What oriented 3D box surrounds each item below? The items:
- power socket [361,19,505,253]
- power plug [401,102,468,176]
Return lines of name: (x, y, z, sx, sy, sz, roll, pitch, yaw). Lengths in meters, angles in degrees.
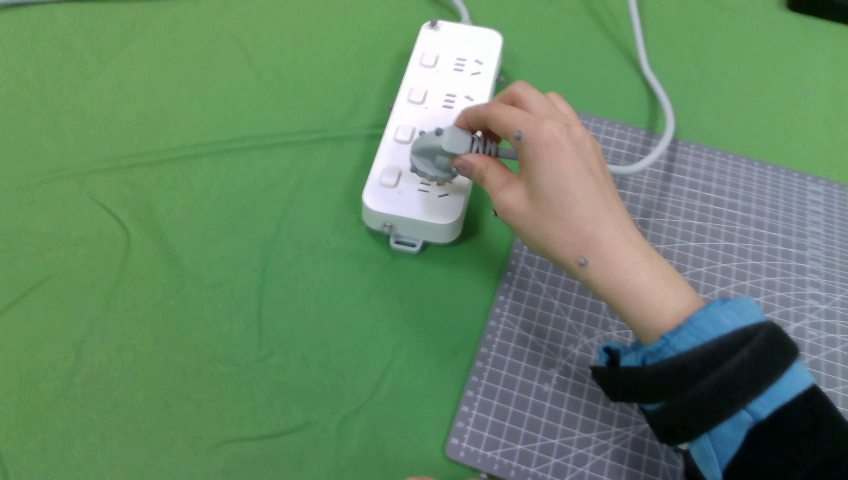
power socket: (0.012, -0.092, 0.469, 0.072, 0.033, 0.225, 13, 58, 5)
power plug: (0.010, -0.065, 0.372, 0.035, 0.072, 0.052, 33, 86, -6)
